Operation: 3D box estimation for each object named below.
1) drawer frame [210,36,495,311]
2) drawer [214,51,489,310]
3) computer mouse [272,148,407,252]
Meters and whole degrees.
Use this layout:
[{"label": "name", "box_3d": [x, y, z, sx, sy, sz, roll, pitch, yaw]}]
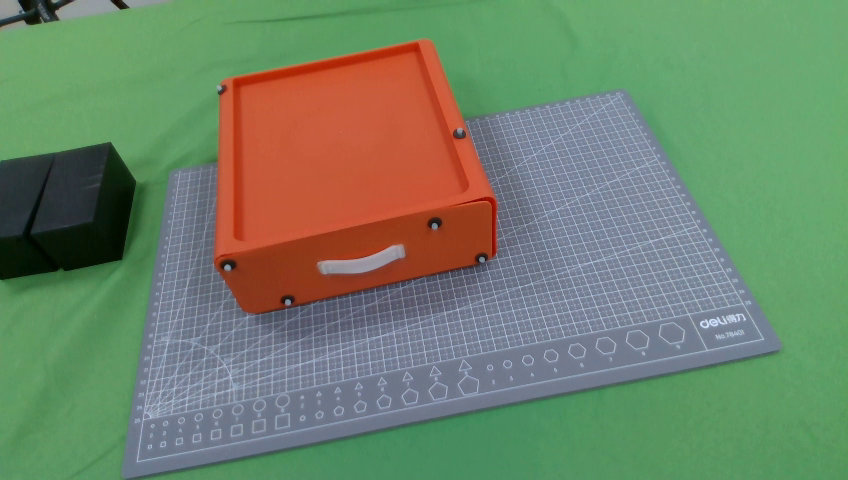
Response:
[{"label": "drawer frame", "box_3d": [-0.066, -0.063, 0.505, 0.202, 0.083, 0.211, -13, 50, -3]}, {"label": "drawer", "box_3d": [-0.065, -0.060, 0.505, 0.194, 0.074, 0.209, -13, 50, -3]}, {"label": "computer mouse", "box_3d": [-0.070, -0.034, 0.487, 0.117, 0.041, 0.062, -18, 51, 10]}]
